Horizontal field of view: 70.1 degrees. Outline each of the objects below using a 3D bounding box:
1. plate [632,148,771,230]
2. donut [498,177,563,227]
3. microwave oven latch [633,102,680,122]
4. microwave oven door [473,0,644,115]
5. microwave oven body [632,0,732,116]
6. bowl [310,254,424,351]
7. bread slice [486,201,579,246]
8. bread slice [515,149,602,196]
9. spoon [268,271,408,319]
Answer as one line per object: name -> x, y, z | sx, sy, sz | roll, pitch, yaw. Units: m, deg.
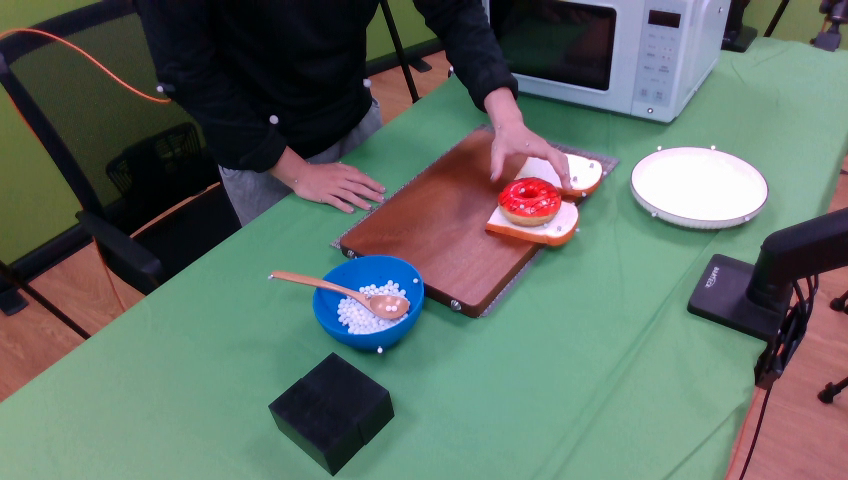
plate -> 0.447, -0.081, 0.988 | 0.207, 0.039, 0.206 | -4, 40, 4
donut -> 0.163, -0.059, 0.929 | 0.099, 0.048, 0.098 | -4, 40, 4
microwave oven latch -> 0.444, -0.249, 1.158 | 0.078, 0.029, 0.030 | 22, 49, 30
microwave oven door -> 0.257, -0.396, 1.199 | 0.353, 0.245, 0.039 | 21, 48, 29
microwave oven body -> 0.377, -0.463, 1.267 | 0.438, 0.261, 0.327 | 21, 49, 30
bowl -> -0.071, 0.098, 0.821 | 0.151, 0.077, 0.150 | -4, 40, 4
bread slice -> 0.176, -0.037, 0.946 | 0.131, 0.019, 0.105 | 16, 47, 24
bread slice -> 0.232, -0.114, 1.026 | 0.133, 0.018, 0.107 | 12, 44, 20
spoon -> -0.116, 0.069, 0.813 | 0.194, 0.021, 0.041 | 18, 39, 1
